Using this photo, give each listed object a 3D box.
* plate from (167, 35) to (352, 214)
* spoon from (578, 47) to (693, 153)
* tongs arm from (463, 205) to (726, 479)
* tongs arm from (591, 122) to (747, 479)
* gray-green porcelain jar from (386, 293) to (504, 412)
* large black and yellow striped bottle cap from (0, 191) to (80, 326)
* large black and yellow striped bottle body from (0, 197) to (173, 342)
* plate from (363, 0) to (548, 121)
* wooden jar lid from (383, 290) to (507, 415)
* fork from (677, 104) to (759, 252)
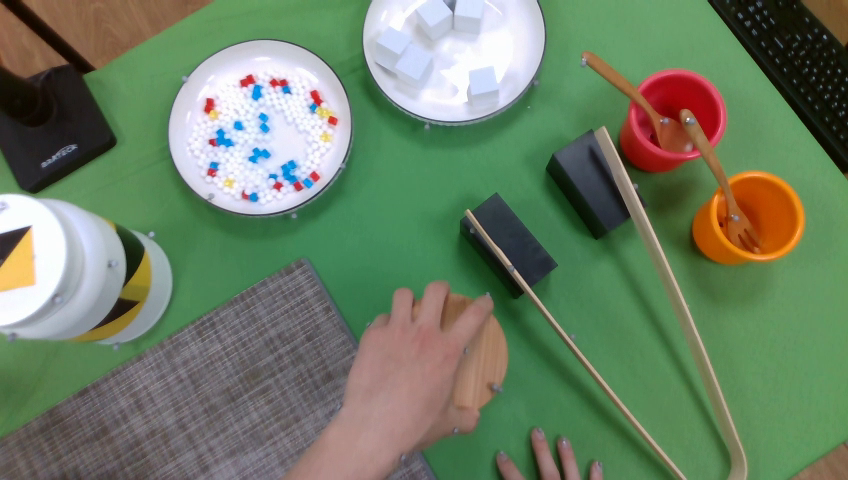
[{"bbox_3d":[-0.183,-0.128,0.689,0.209,0.038,0.208,0,81,3],"label":"plate"},{"bbox_3d":[0.220,-0.144,0.619,0.195,0.021,0.041,28,77,-36],"label":"spoon"},{"bbox_3d":[0.174,0.106,0.605,0.051,0.026,0.385,-37,91,-6],"label":"tongs arm"},{"bbox_3d":[0.246,0.062,0.611,0.028,0.028,0.387,-23,90,-9],"label":"tongs arm"},{"bbox_3d":[0.022,0.110,0.594,0.106,0.127,0.105,0,80,3],"label":"gray-green porcelain jar"},{"bbox_3d":[-0.353,0.015,0.512,0.115,0.019,0.114,0,81,2],"label":"large black and yellow striped bottle cap"},{"bbox_3d":[-0.349,0.032,0.595,0.131,0.184,0.130,0,79,3],"label":"large black and yellow striped bottle body"},{"bbox_3d":[0.035,-0.232,0.697,0.207,0.039,0.207,0,80,3],"label":"plate"},{"bbox_3d":[0.019,0.098,0.533,0.108,0.021,0.108,0,84,4],"label":"wooden jar lid"},{"bbox_3d":[0.293,-0.057,0.599,0.028,0.018,0.209,-42,125,3],"label":"fork"}]
